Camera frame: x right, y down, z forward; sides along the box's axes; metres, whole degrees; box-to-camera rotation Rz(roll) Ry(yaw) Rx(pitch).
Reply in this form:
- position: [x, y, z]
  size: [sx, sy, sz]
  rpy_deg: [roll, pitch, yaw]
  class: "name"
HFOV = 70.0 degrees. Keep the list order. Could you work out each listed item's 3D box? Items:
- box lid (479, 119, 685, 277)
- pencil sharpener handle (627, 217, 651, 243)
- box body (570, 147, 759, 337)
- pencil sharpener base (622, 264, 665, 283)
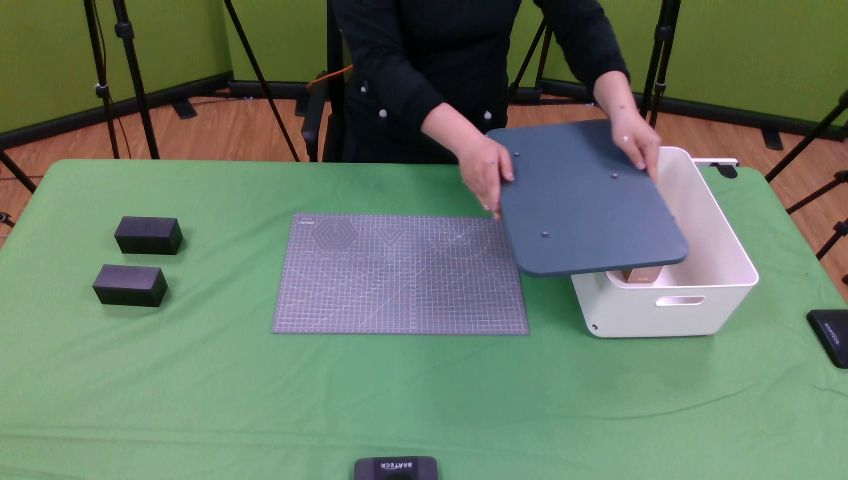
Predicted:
- position: [0.246, -0.085, 1.010]
  size: [0.263, 0.015, 0.369]
  rpy_deg: [-6, 45, -3]
  class: "box lid"
- position: [0.408, -0.025, 1.166]
  size: [0.036, 0.068, 0.030]
  rpy_deg: [3, 45, -8]
  class: "pencil sharpener handle"
- position: [0.400, -0.001, 1.131]
  size: [0.254, 0.161, 0.361]
  rpy_deg: [-1, 46, -5]
  class: "box body"
- position: [0.413, 0.020, 1.140]
  size: [0.061, 0.107, 0.076]
  rpy_deg: [-1, 45, -4]
  class: "pencil sharpener base"
